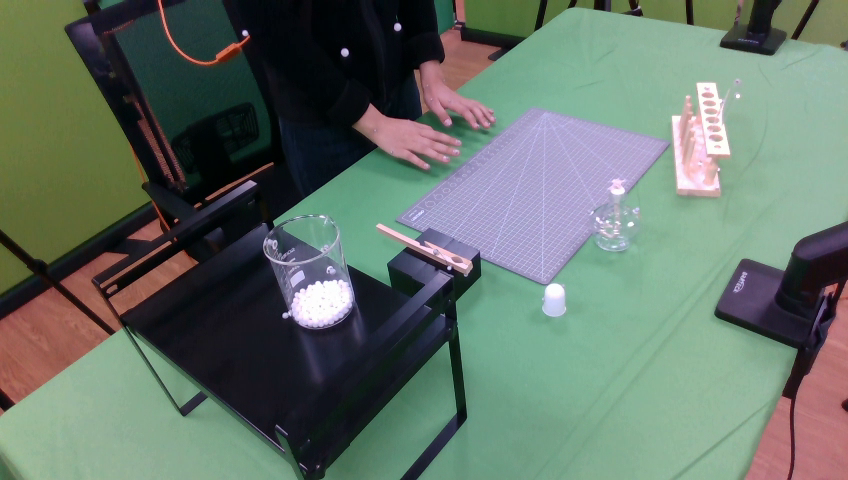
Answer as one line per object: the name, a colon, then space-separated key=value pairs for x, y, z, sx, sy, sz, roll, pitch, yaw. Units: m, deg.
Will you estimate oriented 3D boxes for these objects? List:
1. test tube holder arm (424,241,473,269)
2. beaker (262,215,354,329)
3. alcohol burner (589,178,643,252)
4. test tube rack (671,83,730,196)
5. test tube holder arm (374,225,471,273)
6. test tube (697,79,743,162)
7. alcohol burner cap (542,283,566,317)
test tube holder arm: x=0.033 y=0.022 z=0.872 sx=0.087 sy=0.015 sz=0.010 roll=22 pitch=50 yaw=32
beaker: x=-0.112 y=0.034 z=0.616 sx=0.073 sy=0.101 sz=0.084 roll=13 pitch=44 yaw=23
alcohol burner: x=0.290 y=-0.042 z=0.910 sx=0.078 sy=0.119 sz=0.077 roll=-6 pitch=40 yaw=5
test tube rack: x=0.482 y=-0.184 z=1.067 sx=0.066 sy=0.085 sz=0.242 roll=5 pitch=42 yaw=15
test tube holder arm: x=-0.006 y=0.012 z=0.893 sx=0.177 sy=0.015 sz=0.013 roll=21 pitch=50 yaw=31
test tube: x=0.486 y=-0.194 z=0.998 sx=0.017 sy=0.150 sz=0.017 roll=5 pitch=40 yaw=-4
alcohol burner cap: x=0.181 y=0.080 z=0.839 sx=0.034 sy=0.048 sz=0.033 roll=-4 pitch=40 yaw=4
